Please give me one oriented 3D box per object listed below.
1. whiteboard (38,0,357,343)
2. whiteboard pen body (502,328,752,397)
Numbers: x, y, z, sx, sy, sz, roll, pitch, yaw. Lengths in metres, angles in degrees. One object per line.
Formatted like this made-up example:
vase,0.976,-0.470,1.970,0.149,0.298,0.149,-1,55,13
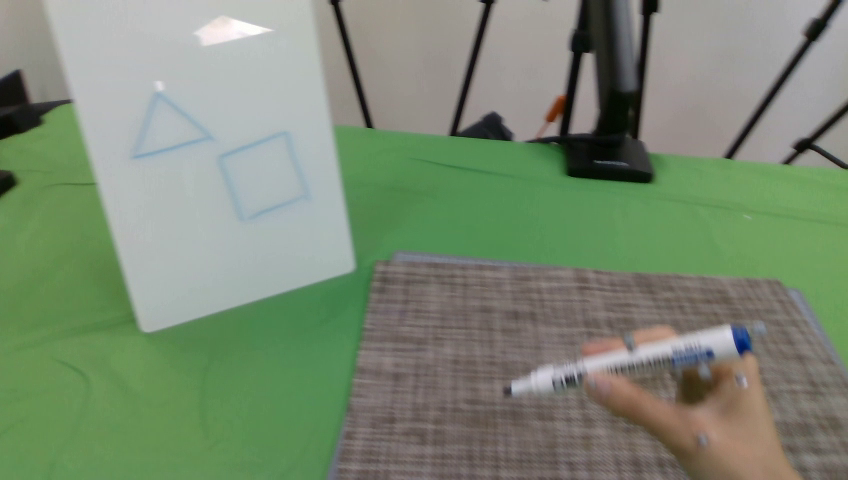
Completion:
whiteboard,-0.218,-0.090,0.621,0.218,0.307,0.142,-17,20,-24
whiteboard pen body,0.104,0.071,0.332,0.140,0.017,0.017,-22,23,31
